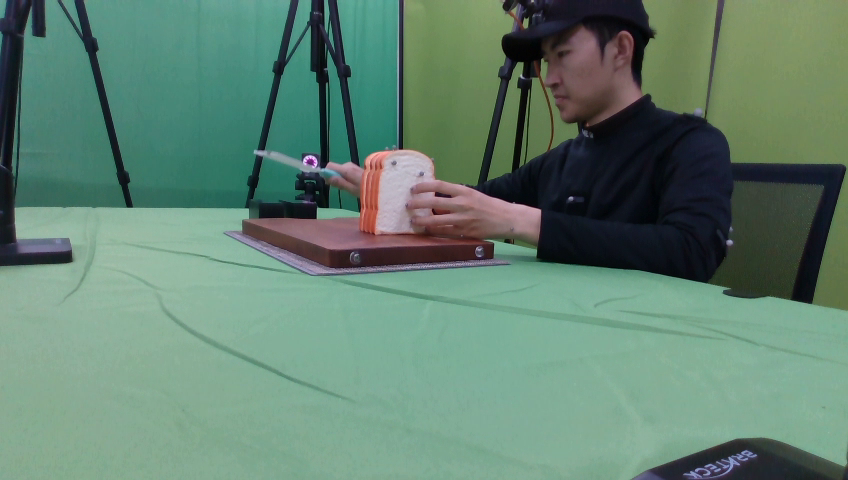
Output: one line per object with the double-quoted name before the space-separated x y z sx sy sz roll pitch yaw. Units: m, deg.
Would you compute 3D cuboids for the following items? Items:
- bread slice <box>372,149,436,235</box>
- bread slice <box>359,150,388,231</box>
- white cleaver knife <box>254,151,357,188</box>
"bread slice" -0.031 -0.074 0.940 0.107 0.134 0.018 -5 10 -30
"bread slice" -0.056 -0.080 0.987 0.105 0.131 0.019 0 1 -31
"white cleaver knife" -0.243 -0.154 1.294 0.065 0.021 0.288 8 -5 31
